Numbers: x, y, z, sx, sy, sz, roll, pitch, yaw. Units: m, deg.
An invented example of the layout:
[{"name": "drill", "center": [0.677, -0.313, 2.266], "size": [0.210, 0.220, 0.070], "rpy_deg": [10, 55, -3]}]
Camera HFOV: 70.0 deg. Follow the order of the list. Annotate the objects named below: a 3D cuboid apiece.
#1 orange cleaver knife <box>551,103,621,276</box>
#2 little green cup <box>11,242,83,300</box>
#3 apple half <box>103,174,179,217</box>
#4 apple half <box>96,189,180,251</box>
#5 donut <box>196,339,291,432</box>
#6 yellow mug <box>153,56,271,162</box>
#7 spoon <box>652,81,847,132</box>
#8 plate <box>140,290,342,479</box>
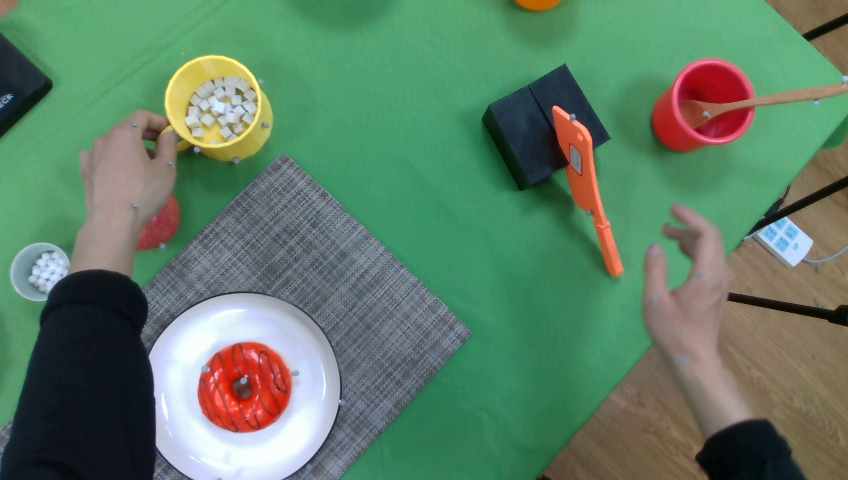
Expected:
[{"name": "orange cleaver knife", "center": [0.181, -0.053, 0.679], "size": [0.012, 0.076, 0.213], "rpy_deg": [-27, 120, -5]}, {"name": "little green cup", "center": [-0.402, 0.035, 0.651], "size": [0.061, 0.038, 0.061], "rpy_deg": [0, 85, -4]}, {"name": "apple half", "center": [-0.295, -0.052, 0.648], "size": [0.081, 0.081, 0.033], "rpy_deg": [25, 88, -2]}, {"name": "apple half", "center": [-0.308, -0.016, 0.645], "size": [0.081, 0.074, 0.053], "rpy_deg": [24, 88, -6]}, {"name": "donut", "center": [-0.191, 0.154, 0.643], "size": [0.099, 0.048, 0.099], "rpy_deg": [0, 88, -5]}, {"name": "yellow mug", "center": [-0.237, -0.133, 0.663], "size": [0.131, 0.064, 0.100], "rpy_deg": [-35, 89, -6]}, {"name": "spoon", "center": [0.353, -0.151, 0.672], "size": [0.192, 0.022, 0.041], "rpy_deg": [-4, 79, 39]}, {"name": "plate", "center": [-0.193, 0.157, 0.654], "size": [0.209, 0.038, 0.208], "rpy_deg": [0, 86, -4]}]
